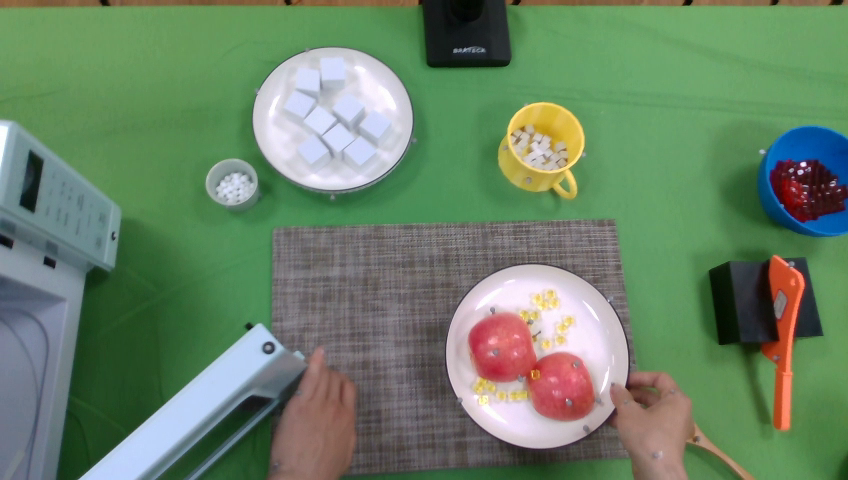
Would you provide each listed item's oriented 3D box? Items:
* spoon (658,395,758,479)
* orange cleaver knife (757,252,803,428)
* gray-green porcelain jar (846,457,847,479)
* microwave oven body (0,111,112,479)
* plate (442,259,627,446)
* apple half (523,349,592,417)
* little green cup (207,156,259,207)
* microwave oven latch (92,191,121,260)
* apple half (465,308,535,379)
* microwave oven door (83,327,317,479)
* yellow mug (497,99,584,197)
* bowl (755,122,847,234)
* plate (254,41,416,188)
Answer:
[{"bbox_3d":[0.358,0.260,0.733,0.193,0.022,0.041,40,58,6],"label":"spoon"},{"bbox_3d":[0.433,0.122,0.745,0.012,0.077,0.212,-1,99,0],"label":"orange cleaver knife"},{"bbox_3d":[0.567,0.275,0.692,0.106,0.127,0.105,1,74,-4],"label":"gray-green porcelain jar"},{"bbox_3d":[-0.525,0.123,0.570,0.326,0.261,0.439,2,76,-5],"label":"microwave oven body"},{"bbox_3d":[0.123,0.126,0.693,0.209,0.038,0.208,0,77,-1],"label":"plate"},{"bbox_3d":[0.152,0.160,0.678,0.081,0.033,0.081,0,73,-1],"label":"apple half"},{"bbox_3d":[-0.238,-0.071,0.763,0.061,0.039,0.061,1,75,-5],"label":"little green cup"},{"bbox_3d":[-0.382,-0.018,0.719,0.030,0.029,0.078,4,76,-4],"label":"microwave oven latch"},{"bbox_3d":[0.085,0.116,0.679,0.075,0.053,0.080,-10,78,0],"label":"apple half"},{"bbox_3d":[-0.258,0.221,0.561,0.355,0.245,0.039,-42,80,-14],"label":"microwave oven door"},{"bbox_3d":[0.160,-0.113,0.794,0.100,0.064,0.130,-30,80,-12],"label":"yellow mug"},{"bbox_3d":[0.501,-0.072,0.804,0.151,0.077,0.150,1,75,-4],"label":"bowl"},{"bbox_3d":[-0.115,-0.162,0.799,0.208,0.039,0.206,1,75,-4],"label":"plate"}]
